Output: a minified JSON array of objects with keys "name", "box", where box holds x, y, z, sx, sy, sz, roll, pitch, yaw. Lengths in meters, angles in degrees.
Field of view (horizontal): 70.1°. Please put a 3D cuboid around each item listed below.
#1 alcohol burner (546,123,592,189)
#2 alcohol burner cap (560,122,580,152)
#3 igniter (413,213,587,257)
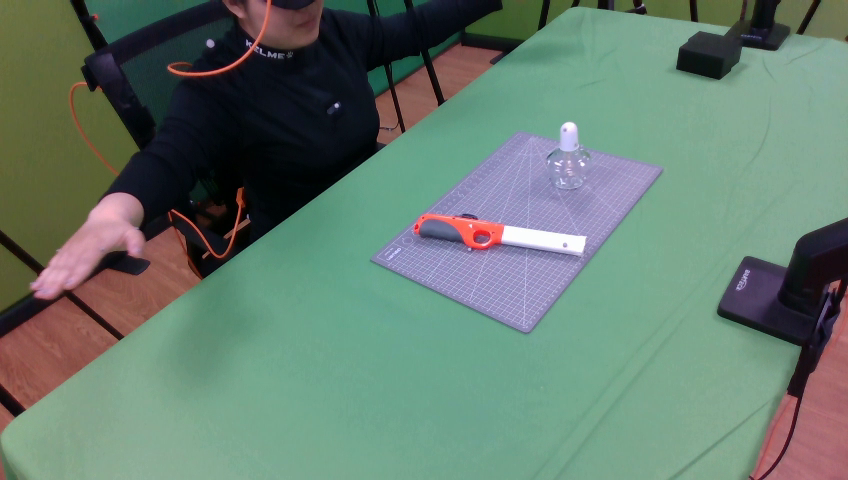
[{"name":"alcohol burner","box":[0.248,-0.147,1.034,0.078,0.120,0.077,-7,41,6]},{"name":"alcohol burner cap","box":[0.244,-0.174,1.010,0.034,0.048,0.033,-8,40,7]},{"name":"igniter","box":[0.116,-0.009,0.959,0.275,0.025,0.057,8,65,17]}]
